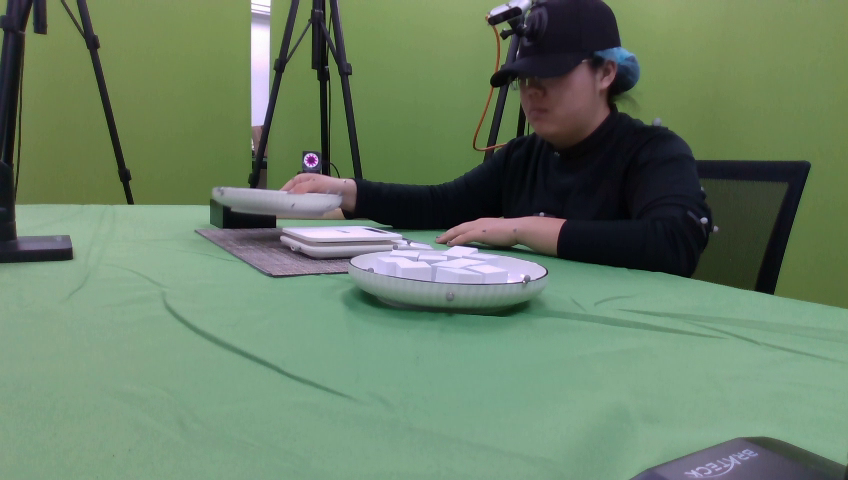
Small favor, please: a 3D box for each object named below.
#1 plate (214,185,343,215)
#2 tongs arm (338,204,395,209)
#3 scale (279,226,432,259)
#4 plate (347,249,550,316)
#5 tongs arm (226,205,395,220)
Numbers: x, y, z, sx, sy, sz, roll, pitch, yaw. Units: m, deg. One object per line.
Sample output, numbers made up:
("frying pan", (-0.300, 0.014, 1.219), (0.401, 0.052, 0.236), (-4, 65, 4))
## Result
("plate", (-0.239, -0.064, 1.001), (0.208, 0.039, 0.207), (4, 4, 0))
("tongs arm", (-0.263, -0.076, 1.459), (0.386, 0.026, 0.050), (3, 8, -8))
("scale", (-0.100, 0.001, 0.899), (0.202, 0.031, 0.148), (-1, 9, -31))
("plate", (0.025, 0.042, 0.627), (0.209, 0.038, 0.209), (2, 7, 0))
("tongs arm", (-0.247, -0.062, 1.380), (0.389, 0.028, 0.028), (0, 5, -21))
